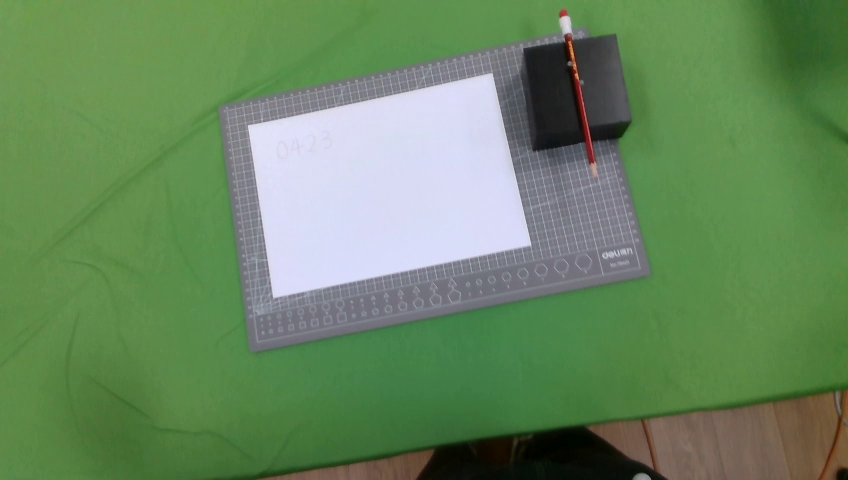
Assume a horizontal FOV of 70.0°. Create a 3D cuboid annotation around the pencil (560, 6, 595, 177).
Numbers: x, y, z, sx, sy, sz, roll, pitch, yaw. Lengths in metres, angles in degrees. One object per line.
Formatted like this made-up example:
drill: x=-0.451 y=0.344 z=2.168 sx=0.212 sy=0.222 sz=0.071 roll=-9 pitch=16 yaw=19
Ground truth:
pencil: x=0.164 y=-0.159 z=0.643 sx=0.012 sy=0.012 sz=0.193 roll=-8 pitch=79 yaw=4
